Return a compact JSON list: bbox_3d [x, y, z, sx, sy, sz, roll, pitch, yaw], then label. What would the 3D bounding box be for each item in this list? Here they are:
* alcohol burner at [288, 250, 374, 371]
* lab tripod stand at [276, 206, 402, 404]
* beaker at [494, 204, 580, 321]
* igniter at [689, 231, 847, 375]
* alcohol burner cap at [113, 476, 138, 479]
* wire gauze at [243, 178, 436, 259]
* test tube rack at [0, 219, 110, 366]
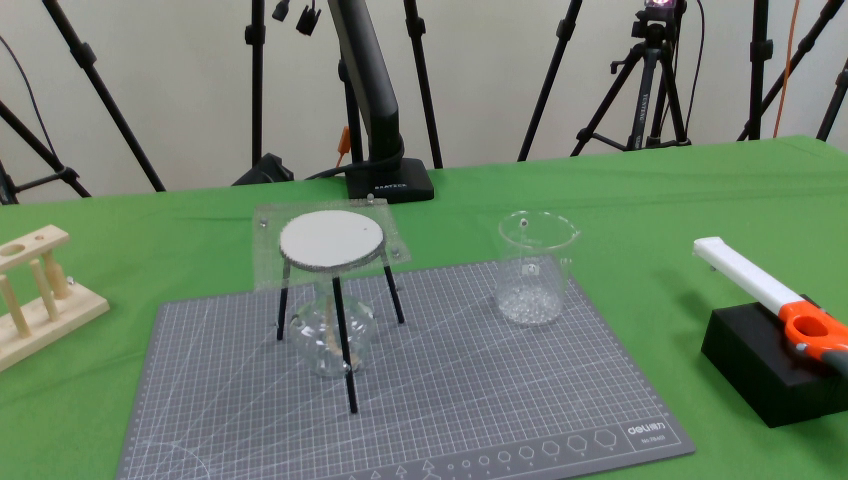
[{"bbox_3d":[-0.085,0.059,0.545,0.078,0.120,0.077,1,32,0],"label":"alcohol burner"},{"bbox_3d":[-0.075,0.049,0.542,0.148,0.132,0.147,1,34,-1],"label":"lab tripod stand"},{"bbox_3d":[0.111,0.025,0.611,0.084,0.101,0.073,-3,33,-4],"label":"beaker"},{"bbox_3d":[0.330,0.063,0.535,0.057,0.025,0.273,-8,30,-11],"label":"igniter"},{"bbox_3d":[-0.206,0.184,0.418,0.034,0.048,0.033,1,33,0],"label":"alcohol burner cap"},{"bbox_3d":[-0.071,-0.019,0.494,0.125,0.011,0.120,-13,31,-32],"label":"wire gauze"},{"bbox_3d":[-0.427,0.077,0.551,0.066,0.086,0.242,20,38,28],"label":"test tube rack"}]
